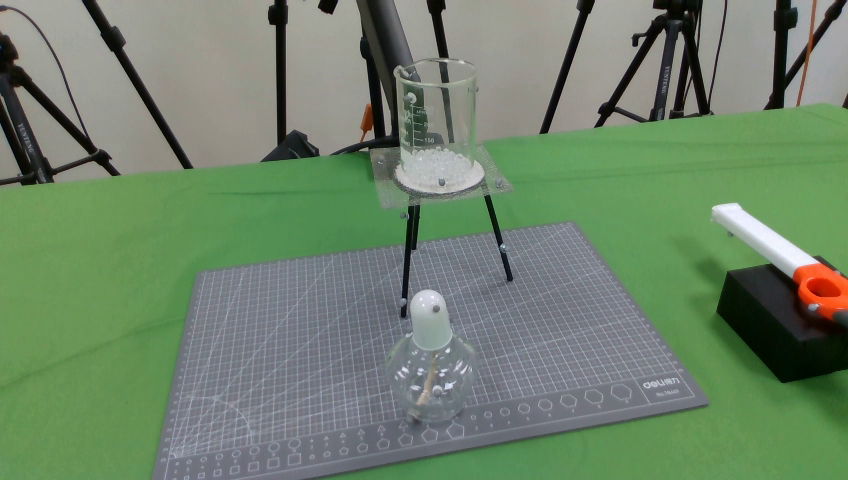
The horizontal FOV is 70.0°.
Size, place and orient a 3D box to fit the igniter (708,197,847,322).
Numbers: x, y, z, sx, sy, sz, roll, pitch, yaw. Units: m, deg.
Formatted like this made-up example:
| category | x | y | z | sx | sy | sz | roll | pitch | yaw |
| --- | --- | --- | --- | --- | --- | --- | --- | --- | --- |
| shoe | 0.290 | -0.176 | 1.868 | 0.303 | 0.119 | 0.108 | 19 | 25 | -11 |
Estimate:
| category | x | y | z | sx | sy | sz | roll | pitch | yaw |
| --- | --- | --- | --- | --- | --- | --- | --- | --- | --- |
| igniter | 0.350 | 0.029 | 0.545 | 0.057 | 0.025 | 0.273 | -9 | 31 | -8 |

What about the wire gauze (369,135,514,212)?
| category | x | y | z | sx | sy | sz | roll | pitch | yaw |
| --- | --- | --- | --- | --- | --- | --- | --- | --- | --- |
| wire gauze | 0.011 | -0.071 | 0.579 | 0.121 | 0.011 | 0.123 | -8 | 37 | -7 |

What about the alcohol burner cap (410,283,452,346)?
| category | x | y | z | sx | sy | sz | roll | pitch | yaw |
| --- | --- | --- | --- | --- | --- | --- | --- | --- | --- |
| alcohol burner cap | 0.004 | 0.054 | 0.467 | 0.034 | 0.048 | 0.033 | -4 | 38 | 3 |

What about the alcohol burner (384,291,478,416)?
| category | x | y | z | sx | sy | sz | roll | pitch | yaw |
| --- | --- | --- | --- | --- | --- | --- | --- | --- | --- |
| alcohol burner | 0.005 | 0.084 | 0.487 | 0.078 | 0.120 | 0.077 | -1 | 36 | 1 |

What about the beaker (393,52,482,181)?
| category | x | y | z | sx | sy | sz | roll | pitch | yaw |
| --- | --- | --- | --- | --- | --- | --- | --- | --- | --- |
| beaker | 0.010 | -0.112 | 0.553 | 0.074 | 0.101 | 0.083 | -29 | 42 | -35 |

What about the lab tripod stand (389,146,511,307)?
| category | x | y | z | sx | sy | sz | roll | pitch | yaw |
| --- | --- | --- | --- | --- | --- | --- | --- | --- | --- |
| lab tripod stand | 0.019 | -0.019 | 0.620 | 0.148 | 0.132 | 0.147 | -1 | 33 | 1 |
